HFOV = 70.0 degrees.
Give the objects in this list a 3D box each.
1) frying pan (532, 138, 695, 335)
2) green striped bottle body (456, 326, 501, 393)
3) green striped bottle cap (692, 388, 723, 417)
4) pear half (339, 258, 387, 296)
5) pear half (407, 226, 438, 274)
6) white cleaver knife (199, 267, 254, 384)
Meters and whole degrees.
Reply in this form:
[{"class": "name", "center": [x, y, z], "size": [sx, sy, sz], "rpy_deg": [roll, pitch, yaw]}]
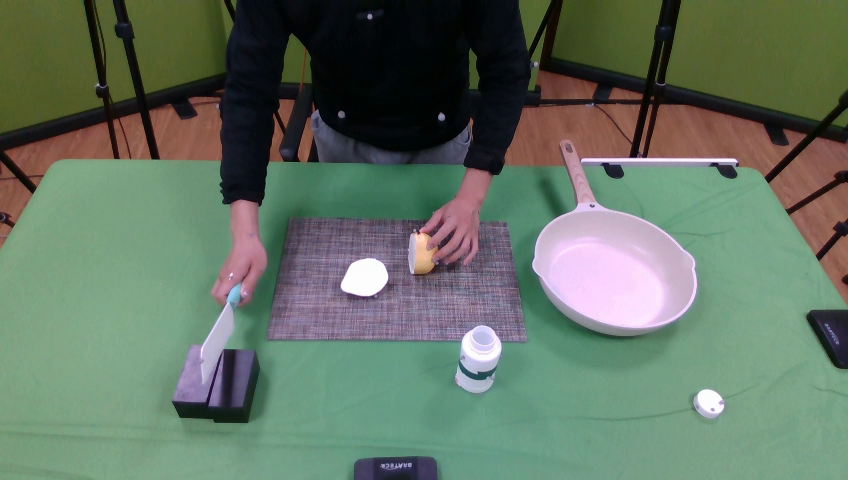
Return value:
[{"class": "frying pan", "center": [0.336, -0.024, 1.190], "size": [0.307, 0.103, 0.484], "rpy_deg": [-2, 55, -7]}, {"class": "green striped bottle body", "center": [0.086, 0.185, 0.959], "size": [0.063, 0.120, 0.063], "rpy_deg": [2, 46, -2]}, {"class": "green striped bottle cap", "center": [0.460, 0.263, 0.984], "size": [0.044, 0.020, 0.044], "rpy_deg": [3, 47, -3]}, {"class": "pear half", "center": [-0.112, 0.073, 1.106], "size": [0.088, 0.031, 0.070], "rpy_deg": [-25, 68, -11]}, {"class": "pear half", "center": [-0.001, 0.012, 1.120], "size": [0.056, 0.110, 0.076], "rpy_deg": [-8, 52, -12]}, {"class": "white cleaver knife", "center": [-0.318, 0.126, 0.975], "size": [0.021, 0.066, 0.285], "rpy_deg": [4, 24, -2]}]
